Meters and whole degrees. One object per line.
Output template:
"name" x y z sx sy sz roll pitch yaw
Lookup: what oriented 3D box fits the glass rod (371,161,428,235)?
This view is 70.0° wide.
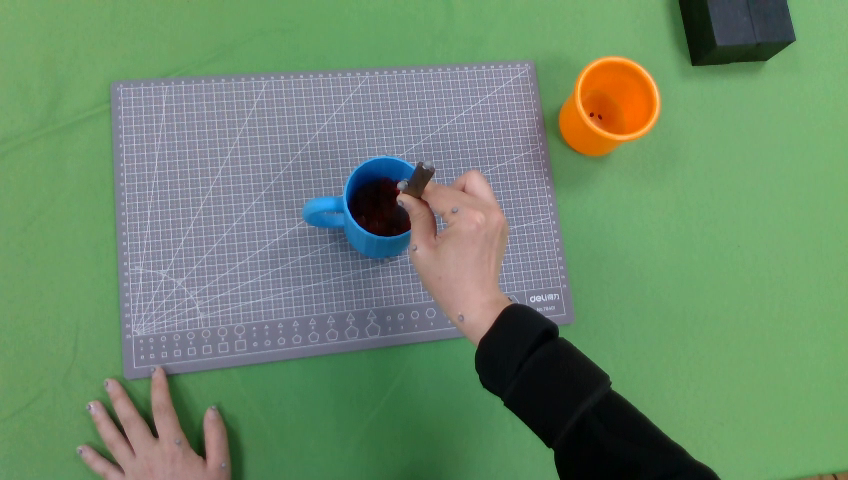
"glass rod" -0.026 -0.027 0.511 0.008 0.200 0.008 4 74 -15

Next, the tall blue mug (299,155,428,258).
"tall blue mug" -0.055 -0.022 0.576 0.107 0.108 0.077 -30 85 -12
